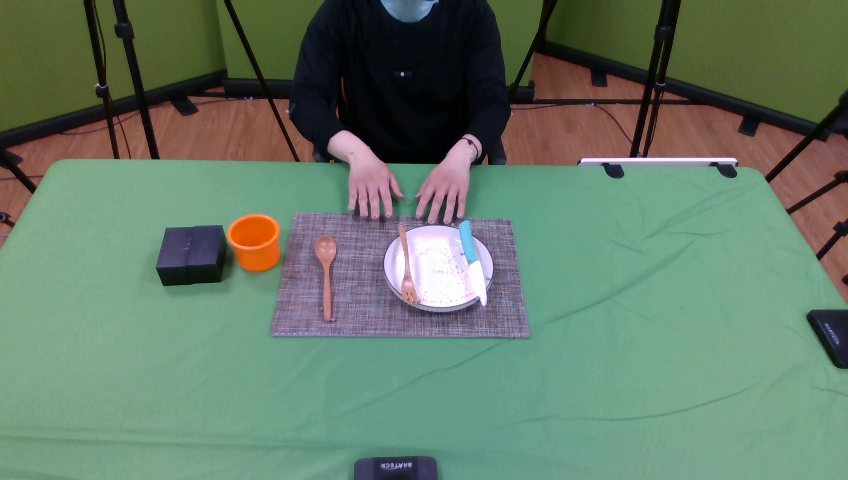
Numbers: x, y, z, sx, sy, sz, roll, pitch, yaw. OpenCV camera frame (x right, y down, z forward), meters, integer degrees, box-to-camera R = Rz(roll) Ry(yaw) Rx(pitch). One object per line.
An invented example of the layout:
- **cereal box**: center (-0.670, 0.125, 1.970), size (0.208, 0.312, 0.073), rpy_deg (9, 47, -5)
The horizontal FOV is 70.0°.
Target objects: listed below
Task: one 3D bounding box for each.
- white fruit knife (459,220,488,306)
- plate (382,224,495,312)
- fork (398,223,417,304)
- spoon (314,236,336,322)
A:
- **white fruit knife**: center (0.091, 0.039, 1.118), size (0.027, 0.016, 0.206), rpy_deg (-2, 47, -10)
- **plate**: center (0.026, 0.055, 1.128), size (0.209, 0.038, 0.208), rpy_deg (2, 46, -2)
- **fork**: center (-0.033, 0.039, 1.110), size (0.028, 0.019, 0.206), rpy_deg (4, 46, -13)
- **spoon**: center (-0.180, 0.068, 1.111), size (0.042, 0.022, 0.192), rpy_deg (9, 43, -20)
